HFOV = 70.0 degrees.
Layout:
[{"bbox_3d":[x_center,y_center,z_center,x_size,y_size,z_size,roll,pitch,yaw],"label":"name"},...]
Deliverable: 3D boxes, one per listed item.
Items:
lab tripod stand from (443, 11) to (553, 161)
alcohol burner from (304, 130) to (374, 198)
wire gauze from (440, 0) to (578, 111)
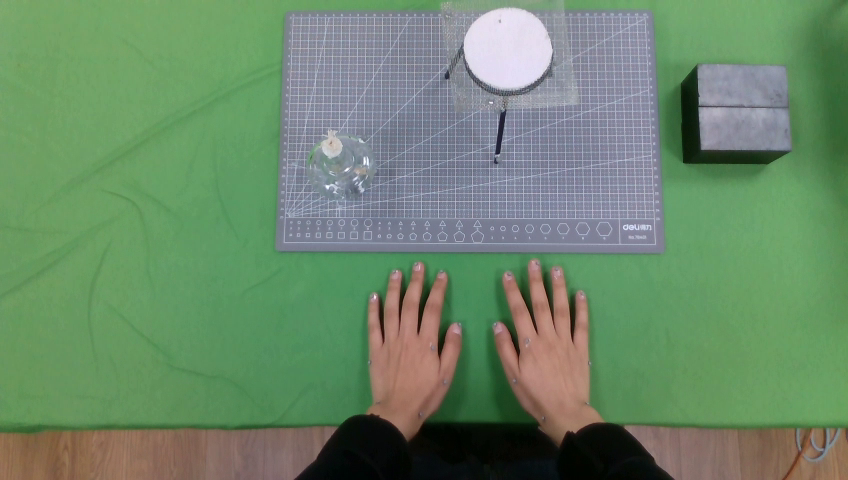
[{"bbox_3d":[0.087,-0.178,0.661,0.148,0.132,0.147,0,79,1],"label":"lab tripod stand"},{"bbox_3d":[-0.095,-0.089,0.661,0.078,0.119,0.077,0,79,1],"label":"alcohol burner"},{"bbox_3d":[0.083,-0.187,0.595,0.125,0.011,0.121,-5,81,-1],"label":"wire gauze"}]
